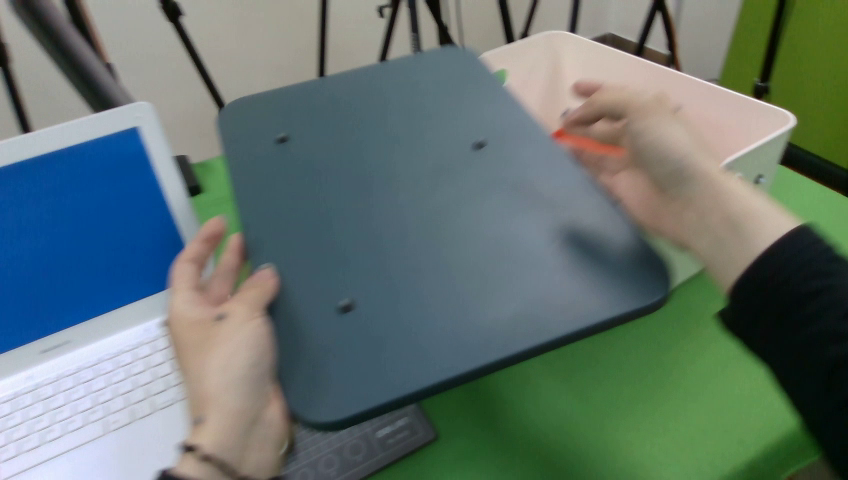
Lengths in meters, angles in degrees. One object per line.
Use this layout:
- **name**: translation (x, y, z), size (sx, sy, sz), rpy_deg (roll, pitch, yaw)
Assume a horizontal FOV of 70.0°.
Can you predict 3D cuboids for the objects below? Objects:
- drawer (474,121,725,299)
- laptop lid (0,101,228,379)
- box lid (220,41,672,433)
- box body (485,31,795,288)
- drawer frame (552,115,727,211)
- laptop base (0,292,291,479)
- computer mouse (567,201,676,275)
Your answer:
- **drawer**: translation (0.190, -0.048, 0.701), size (0.195, 0.074, 0.209), rpy_deg (-21, 42, -18)
- **laptop lid**: translation (-0.413, 0.019, 0.618), size (0.357, 0.242, 0.013), rpy_deg (-24, 12, -18)
- **box lid**: translation (-0.014, -0.043, 0.477), size (0.263, 0.015, 0.367), rpy_deg (-18, 47, -9)
- **box body**: translation (0.175, -0.093, 0.710), size (0.254, 0.162, 0.360), rpy_deg (-26, 42, -22)
- **drawer frame**: translation (0.189, -0.046, 0.702), size (0.202, 0.083, 0.211), rpy_deg (-23, 41, -18)
- **laptop base**: translation (-0.321, 0.187, 0.558), size (0.355, 0.023, 0.233), rpy_deg (-23, 44, -18)
- **computer mouse**: translation (0.224, -0.005, 0.692), size (0.117, 0.041, 0.062), rpy_deg (-22, 45, -7)
